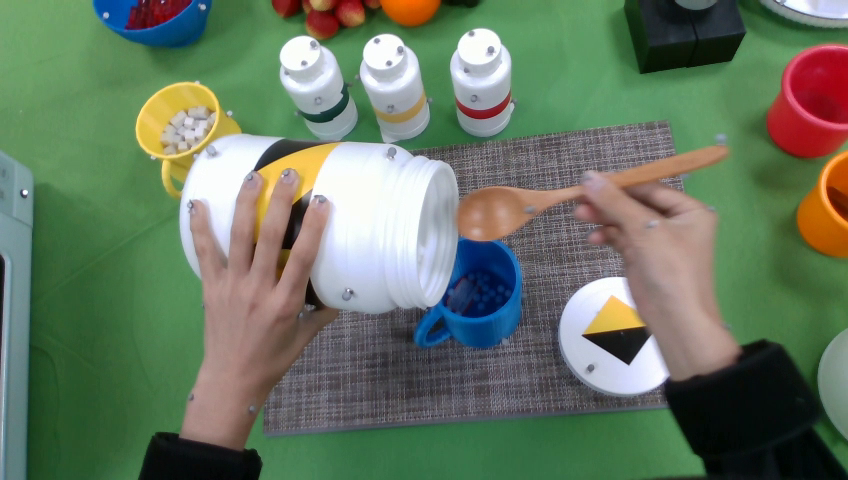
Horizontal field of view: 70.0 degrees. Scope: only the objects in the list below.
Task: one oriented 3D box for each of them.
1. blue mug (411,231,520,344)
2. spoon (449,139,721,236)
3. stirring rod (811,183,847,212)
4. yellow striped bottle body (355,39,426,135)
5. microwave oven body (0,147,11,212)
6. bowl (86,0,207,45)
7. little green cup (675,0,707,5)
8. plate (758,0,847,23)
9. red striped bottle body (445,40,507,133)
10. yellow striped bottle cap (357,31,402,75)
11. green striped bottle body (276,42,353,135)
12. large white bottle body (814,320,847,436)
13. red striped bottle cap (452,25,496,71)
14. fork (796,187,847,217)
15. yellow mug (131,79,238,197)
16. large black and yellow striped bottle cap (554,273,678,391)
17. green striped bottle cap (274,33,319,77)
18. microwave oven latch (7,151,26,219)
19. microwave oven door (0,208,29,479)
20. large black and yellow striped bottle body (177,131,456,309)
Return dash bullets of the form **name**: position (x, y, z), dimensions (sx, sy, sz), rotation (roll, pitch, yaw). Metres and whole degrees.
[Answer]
- **blue mug**: position (0.035, 0.057, 0.571), dimensions (0.116, 0.106, 0.081), rotation (-38, 68, -7)
- **spoon**: position (0.111, -0.040, 0.437), dimensions (0.193, 0.021, 0.041), rotation (-13, 93, 21)
- **stirring rod**: position (0.395, -0.018, 0.536), dimensions (0.014, 0.006, 0.175), rotation (-3, 26, 4)
- **yellow striped bottle body**: position (-0.037, -0.171, 0.661), dimensions (0.063, 0.121, 0.062), rotation (-3, 69, 8)
- **microwave oven body**: position (-0.604, 0.102, 0.561), dimensions (0.326, 0.262, 0.438), rotation (-15, 69, 2)
- **bowl**: position (-0.337, -0.306, 0.775), dimensions (0.151, 0.077, 0.150), rotation (-2, 70, 7)
- **little green cup**: position (0.289, -0.285, 0.647), dimensions (0.061, 0.039, 0.061), rotation (-2, 68, 6)
- **plate**: position (0.456, -0.331, 0.695), dimensions (0.209, 0.038, 0.207), rotation (-2, 70, 7)
- **red striped bottle body**: position (0.057, -0.172, 0.649), dimensions (0.063, 0.120, 0.062), rotation (-3, 68, 7)
- **yellow striped bottle cap**: position (-0.045, -0.189, 0.613), dimensions (0.044, 0.019, 0.044), rotation (-1, 66, 3)
- **green striped bottle body**: position (-0.123, -0.173, 0.674), dimensions (0.063, 0.120, 0.063), rotation (-2, 69, 7)
- **large white bottle body**: position (0.407, 0.100, 0.465), dimensions (0.130, 0.186, 0.129), rotation (-3, 69, 8)
- **red striped bottle cap**: position (0.050, -0.190, 0.600), dimensions (0.044, 0.018, 0.044), rotation (-1, 68, 4)
- **fork**: position (0.424, -0.019, 0.525), dimensions (0.028, 0.019, 0.205), rotation (-35, 25, -11)
- **yellow mug**: position (-0.279, -0.113, 0.703), dimensions (0.100, 0.064, 0.130), rotation (4, 71, 9)
- **large black and yellow striped bottle cap**: position (0.185, 0.088, 0.587), dimensions (0.115, 0.019, 0.114), rotation (-3, 68, 7)
- **green striped bottle cap**: position (-0.132, -0.191, 0.625), dimensions (0.044, 0.020, 0.044), rotation (-2, 69, 5)
- **microwave oven latch**: position (-0.486, -0.062, 0.708), dimensions (0.030, 0.030, 0.078), rotation (-13, 69, 3)
- **microwave oven door**: position (-0.454, 0.102, 0.535), dimensions (0.039, 0.245, 0.353), rotation (-15, 68, 3)
- **large black and yellow striped bottle body**: position (-0.076, -0.016, 0.472), dimensions (0.183, 0.132, 0.130), rotation (6, 70, 17)
